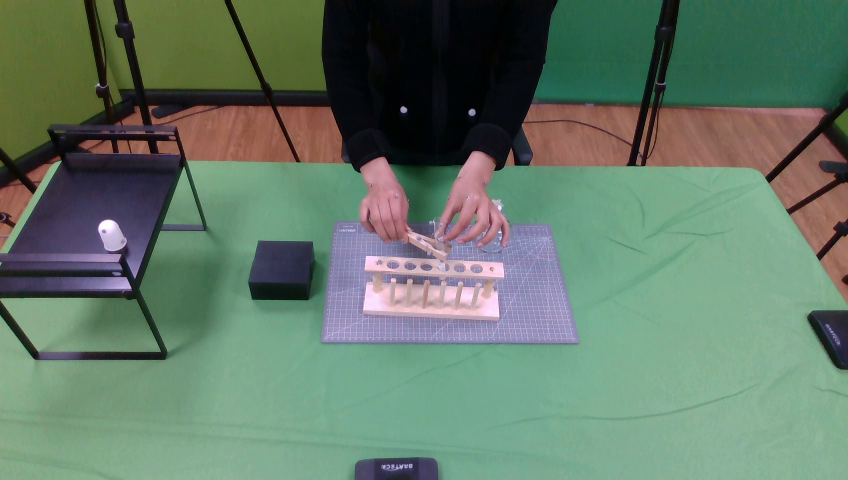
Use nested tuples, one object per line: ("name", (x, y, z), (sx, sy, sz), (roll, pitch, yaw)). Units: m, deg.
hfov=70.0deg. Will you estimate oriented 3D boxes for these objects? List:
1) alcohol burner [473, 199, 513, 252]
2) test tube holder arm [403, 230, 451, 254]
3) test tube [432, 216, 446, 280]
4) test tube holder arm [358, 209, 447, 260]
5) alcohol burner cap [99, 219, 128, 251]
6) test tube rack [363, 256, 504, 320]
("alcohol burner", (0.135, -0.034, 1.174), (0.078, 0.120, 0.077), (1, 48, -1))
("test tube holder arm", (0.004, 0.003, 1.030), (0.088, 0.015, 0.010), (18, 42, 8))
("test tube", (0.027, 0.017, 1.020), (0.017, 0.151, 0.017), (-3, 48, 3))
("test tube holder arm", (-0.039, -0.011, 1.037), (0.178, 0.015, 0.013), (26, 43, 18))
("alcohol burner cap", (-0.467, -0.010, 0.907), (0.034, 0.048, 0.033), (2, 47, -2))
("test tube rack", (0.015, 0.085, 1.069), (0.242, 0.085, 0.066), (3, 45, -2))
